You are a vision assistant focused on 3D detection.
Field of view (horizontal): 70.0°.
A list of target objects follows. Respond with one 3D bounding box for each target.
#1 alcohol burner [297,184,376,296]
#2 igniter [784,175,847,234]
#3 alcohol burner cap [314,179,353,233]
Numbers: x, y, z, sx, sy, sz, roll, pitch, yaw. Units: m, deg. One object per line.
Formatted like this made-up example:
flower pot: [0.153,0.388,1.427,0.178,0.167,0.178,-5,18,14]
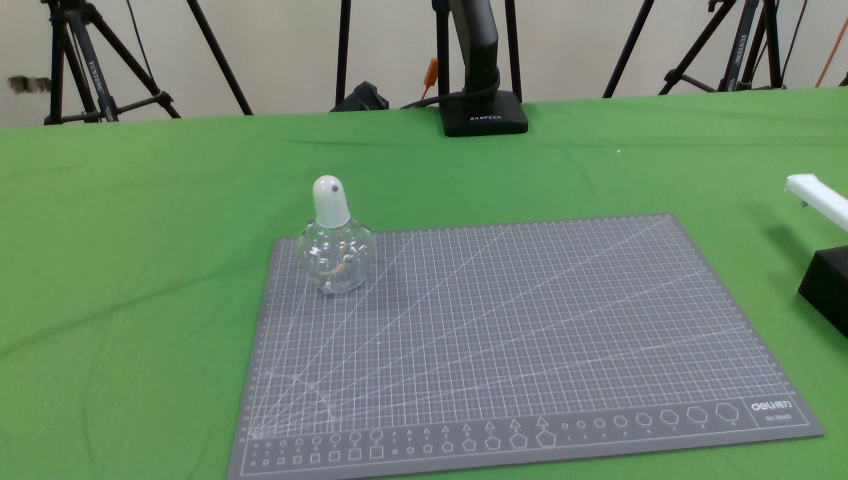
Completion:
alcohol burner: [-0.085,-0.005,0.578,0.078,0.120,0.077,0,39,0]
igniter: [0.422,0.009,0.542,0.057,0.025,0.273,-5,33,-6]
alcohol burner cap: [-0.085,-0.034,0.557,0.034,0.048,0.033,-2,39,2]
